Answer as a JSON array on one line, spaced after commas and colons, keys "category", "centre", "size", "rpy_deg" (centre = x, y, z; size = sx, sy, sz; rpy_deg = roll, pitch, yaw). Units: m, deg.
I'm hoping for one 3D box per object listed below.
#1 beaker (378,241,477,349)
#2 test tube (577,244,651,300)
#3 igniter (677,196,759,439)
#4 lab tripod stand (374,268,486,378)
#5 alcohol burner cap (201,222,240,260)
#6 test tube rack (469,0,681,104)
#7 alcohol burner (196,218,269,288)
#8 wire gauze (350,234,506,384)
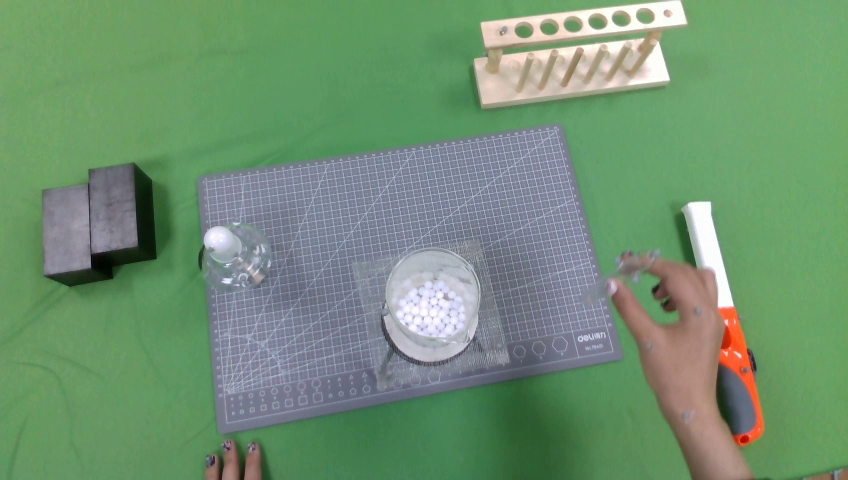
[{"category": "beaker", "centre": [0.006, 0.054, 0.510], "size": [0.074, 0.101, 0.083], "rpy_deg": [-32, 76, -9]}, {"category": "test tube", "centre": [0.166, 0.033, 0.546], "size": [0.017, 0.151, 0.017], "rpy_deg": [1, 72, -3]}, {"category": "igniter", "centre": [0.333, 0.082, 0.690], "size": [0.057, 0.025, 0.275], "rpy_deg": [-3, 74, -13]}, {"category": "lab tripod stand", "centre": [-0.001, 0.083, 0.620], "size": [0.148, 0.132, 0.147], "rpy_deg": [0, 73, 0]}, {"category": "alcohol burner cap", "centre": [-0.206, -0.001, 0.609], "size": [0.034, 0.048, 0.033], "rpy_deg": [1, 76, -5]}, {"category": "test tube rack", "centre": [0.183, -0.232, 0.743], "size": [0.242, 0.085, 0.066], "rpy_deg": [-8, 74, -4]}, {"category": "alcohol burner", "centre": [-0.208, 0.009, 0.643], "size": [0.078, 0.120, 0.077], "rpy_deg": [0, 72, 0]}, {"category": "wire gauze", "centre": [0.002, 0.061, 0.558], "size": [0.125, 0.011, 0.120], "rpy_deg": [-12, 73, -3]}]
